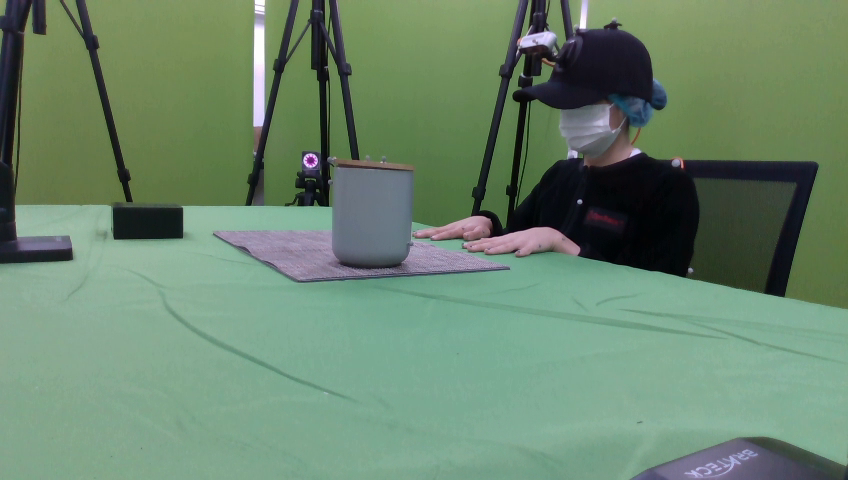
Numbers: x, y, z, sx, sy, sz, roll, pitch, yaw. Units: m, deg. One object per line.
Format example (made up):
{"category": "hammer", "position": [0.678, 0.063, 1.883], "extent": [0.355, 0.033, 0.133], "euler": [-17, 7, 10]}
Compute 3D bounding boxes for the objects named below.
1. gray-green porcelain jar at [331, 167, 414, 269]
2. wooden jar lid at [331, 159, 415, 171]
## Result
{"category": "gray-green porcelain jar", "position": [-0.068, -0.030, 0.791], "extent": [0.106, 0.126, 0.106], "euler": [3, 7, 0]}
{"category": "wooden jar lid", "position": [-0.066, -0.091, 0.783], "extent": [0.108, 0.020, 0.108], "euler": [5, 8, 0]}
